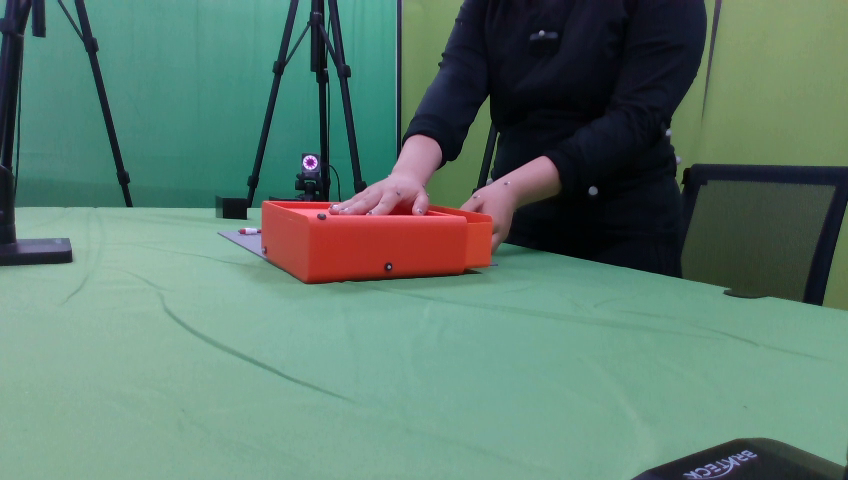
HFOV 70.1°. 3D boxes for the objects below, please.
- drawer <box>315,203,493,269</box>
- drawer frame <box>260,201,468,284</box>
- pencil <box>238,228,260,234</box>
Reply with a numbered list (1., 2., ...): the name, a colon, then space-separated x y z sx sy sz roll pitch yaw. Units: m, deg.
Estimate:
1. drawer: -0.047 -0.006 0.817 0.213 0.073 0.193 -3 10 -30
2. drawer frame: -0.084 -0.004 0.794 0.215 0.082 0.200 -2 10 -30
3. pencil: -0.241 -0.015 1.106 0.195 0.012 0.012 1 7 -30
